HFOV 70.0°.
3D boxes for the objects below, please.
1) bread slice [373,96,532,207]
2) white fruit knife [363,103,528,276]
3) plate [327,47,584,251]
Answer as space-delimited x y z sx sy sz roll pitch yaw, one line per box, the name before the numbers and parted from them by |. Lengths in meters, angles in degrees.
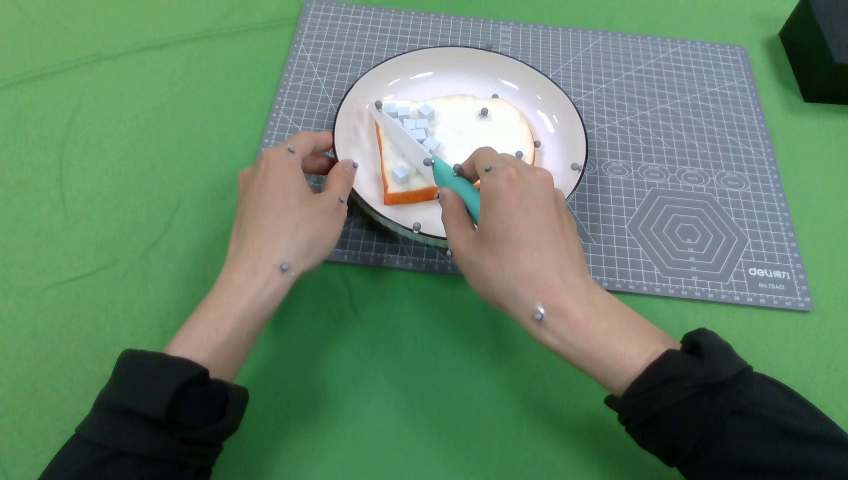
bread slice | 0.023 -0.080 0.508 0.132 0.019 0.104 -7 60 -6
white fruit knife | 0.007 -0.049 0.447 0.016 0.027 0.205 -20 50 -30
plate | 0.025 -0.076 0.503 0.209 0.038 0.207 2 59 -3
